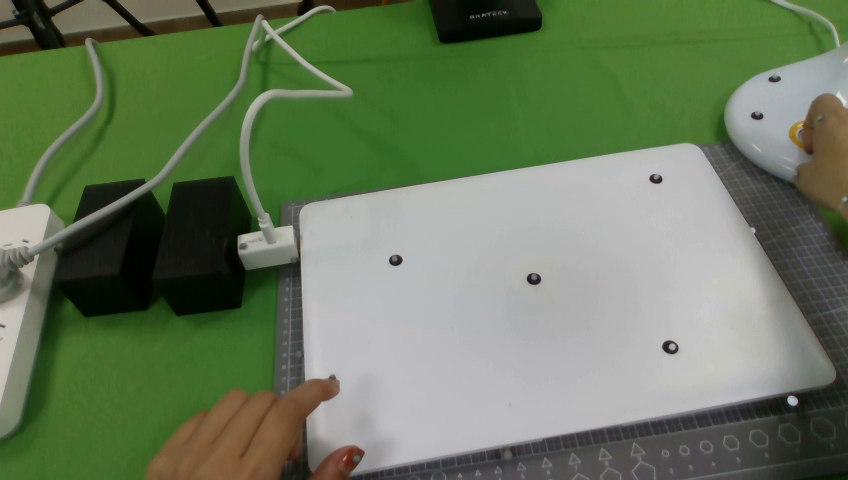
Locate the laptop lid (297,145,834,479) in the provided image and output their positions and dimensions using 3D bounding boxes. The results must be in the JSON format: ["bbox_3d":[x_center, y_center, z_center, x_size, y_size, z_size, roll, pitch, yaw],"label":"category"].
[{"bbox_3d":[0.083,0.034,0.455,0.357,0.013,0.239,-8,53,-2],"label":"laptop lid"}]

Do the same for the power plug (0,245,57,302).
[{"bbox_3d":[-0.311,0.033,0.463,0.072,0.053,0.035,-2,51,3],"label":"power plug"}]

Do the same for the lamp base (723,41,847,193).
[{"bbox_3d":[0.358,-0.160,0.500,0.159,0.182,0.178,23,53,22],"label":"lamp base"}]

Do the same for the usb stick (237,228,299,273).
[{"bbox_3d":[-0.119,0.008,0.491,0.059,0.027,0.021,-9,50,-9],"label":"usb stick"}]

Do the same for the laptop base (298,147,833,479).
[{"bbox_3d":[0.084,0.039,0.465,0.354,0.023,0.233,-9,55,-3],"label":"laptop base"}]

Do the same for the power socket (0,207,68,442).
[{"bbox_3d":[-0.337,0.060,0.473,0.072,0.033,0.224,-10,50,-5],"label":"power socket"}]
